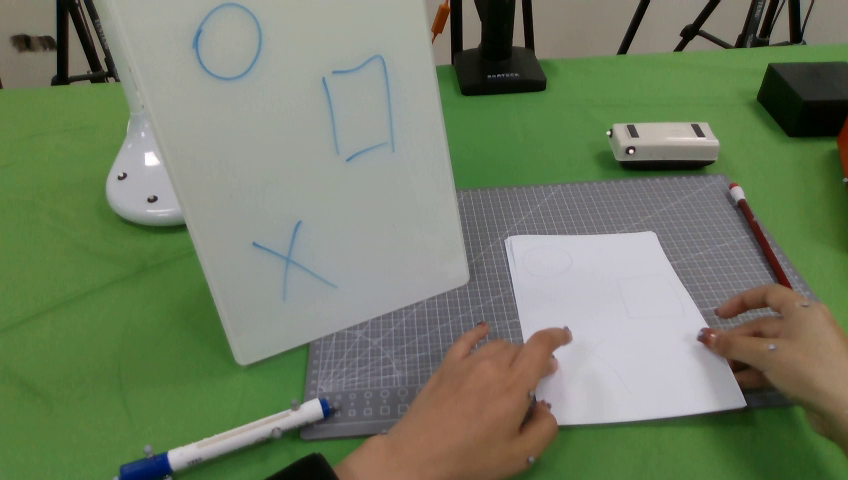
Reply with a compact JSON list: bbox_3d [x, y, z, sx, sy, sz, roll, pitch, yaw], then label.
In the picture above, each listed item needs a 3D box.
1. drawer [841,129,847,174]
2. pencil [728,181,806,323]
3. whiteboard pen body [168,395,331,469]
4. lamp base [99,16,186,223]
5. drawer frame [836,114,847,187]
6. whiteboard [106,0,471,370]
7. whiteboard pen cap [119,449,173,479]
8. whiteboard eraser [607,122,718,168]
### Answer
[{"bbox_3d":[0.540,-0.054,0.595,0.193,0.074,0.210,12,43,17],"label":"drawer"},{"bbox_3d":[0.329,0.005,0.586,0.012,0.012,0.192,0,44,3],"label":"pencil"},{"bbox_3d":[-0.136,0.142,0.438,0.141,0.017,0.017,-16,43,-18],"label":"whiteboard pen body"},{"bbox_3d":[-0.285,-0.134,0.640,0.177,0.182,0.160,24,48,30],"label":"lamp base"},{"bbox_3d":[0.541,-0.057,0.598,0.201,0.083,0.212,12,42,16],"label":"drawer frame"},{"bbox_3d":[-0.105,-0.084,0.526,0.217,0.307,0.142,-18,25,-17],"label":"whiteboard"},{"bbox_3d":[-0.191,0.157,0.420,0.033,0.018,0.018,-15,42,-20],"label":"whiteboard pen cap"},{"bbox_3d":[0.273,-0.110,0.700,0.112,0.042,0.055,0,42,3],"label":"whiteboard eraser"}]
